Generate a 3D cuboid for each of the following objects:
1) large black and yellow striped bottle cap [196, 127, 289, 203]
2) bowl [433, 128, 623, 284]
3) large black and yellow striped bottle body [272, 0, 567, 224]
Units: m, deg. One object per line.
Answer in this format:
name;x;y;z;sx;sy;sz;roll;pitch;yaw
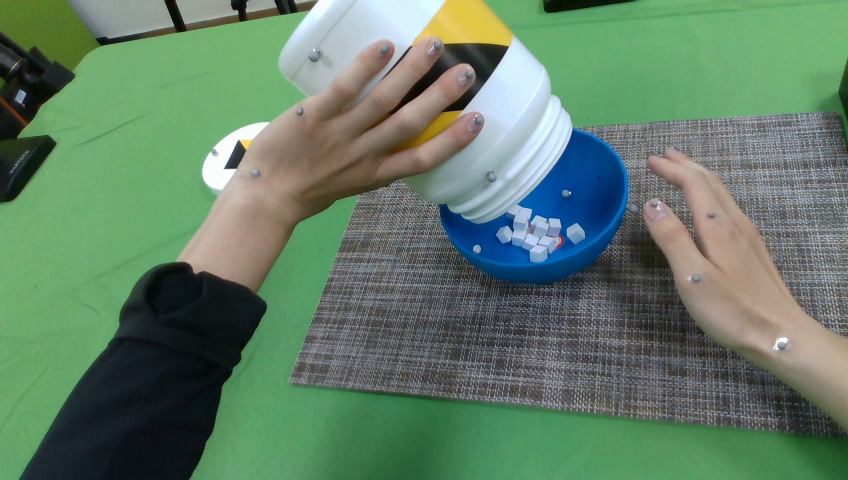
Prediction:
large black and yellow striped bottle cap;-0.219;-0.093;0.730;0.115;0.019;0.114;-9;50;12
bowl;0.090;-0.016;0.508;0.151;0.077;0.150;-10;50;12
large black and yellow striped bottle body;0.002;-0.109;0.436;0.131;0.185;0.129;-44;19;20
